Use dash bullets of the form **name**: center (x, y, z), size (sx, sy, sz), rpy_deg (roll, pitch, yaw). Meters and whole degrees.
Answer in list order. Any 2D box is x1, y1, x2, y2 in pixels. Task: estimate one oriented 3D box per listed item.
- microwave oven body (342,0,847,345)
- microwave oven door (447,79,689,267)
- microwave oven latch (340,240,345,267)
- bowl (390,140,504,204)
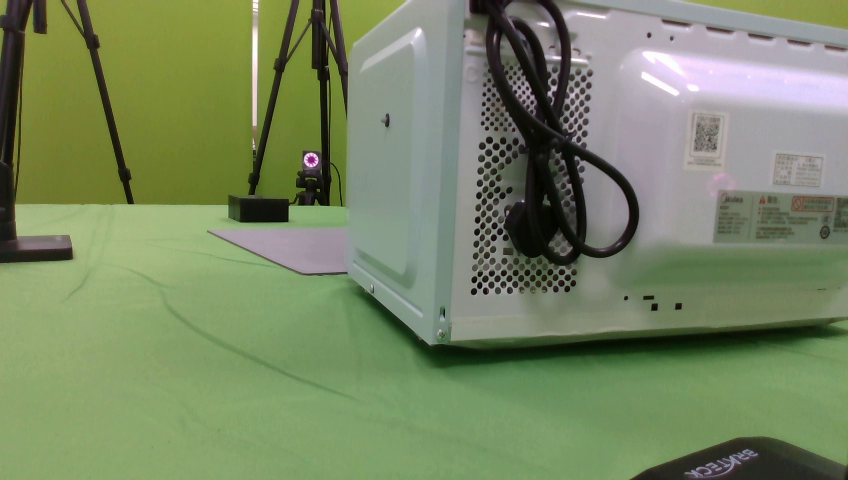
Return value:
- **microwave oven body**: center (0.169, -0.060, 0.573), size (0.444, 0.260, 0.324), rpy_deg (1, 7, -20)
- **microwave oven door**: center (0.190, -0.103, 0.884), size (0.354, 0.243, 0.039), rpy_deg (8, 10, 37)
- **microwave oven latch**: center (-0.052, 0.016, 0.662), size (0.079, 0.029, 0.030), rpy_deg (1, 7, -18)
- **bowl**: center (0.028, -0.089, 0.800), size (0.151, 0.077, 0.151), rpy_deg (3, 7, 0)
